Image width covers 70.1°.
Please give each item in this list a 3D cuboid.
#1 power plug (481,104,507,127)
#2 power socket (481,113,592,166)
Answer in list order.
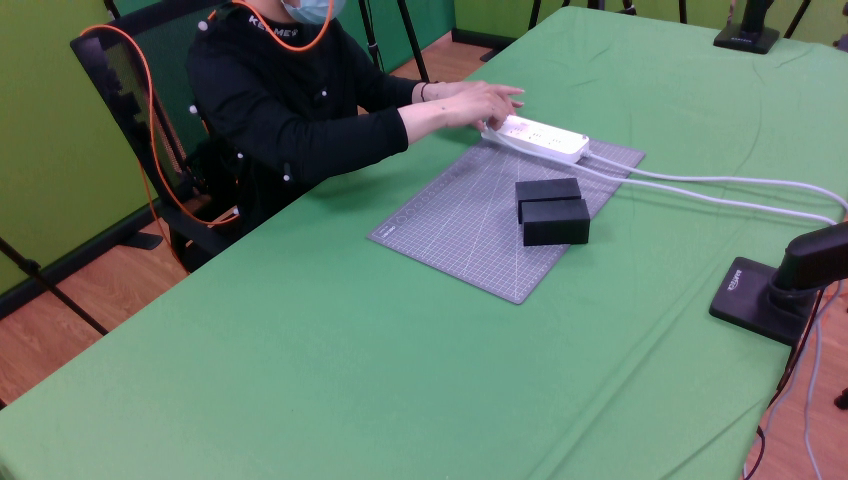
[{"bbox_3d":[0.127,-0.231,1.155,0.073,0.053,0.035,-32,51,-23],"label":"power plug"},{"bbox_3d":[0.208,-0.196,1.155,0.225,0.033,0.072,25,51,32],"label":"power socket"}]
